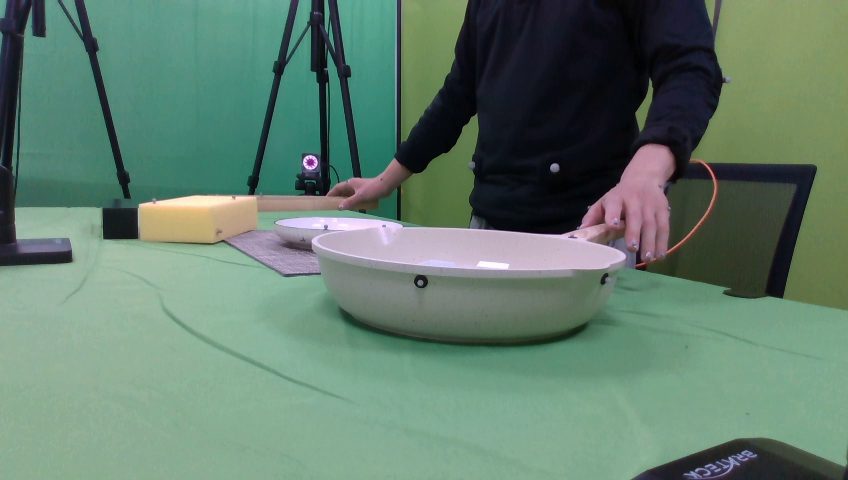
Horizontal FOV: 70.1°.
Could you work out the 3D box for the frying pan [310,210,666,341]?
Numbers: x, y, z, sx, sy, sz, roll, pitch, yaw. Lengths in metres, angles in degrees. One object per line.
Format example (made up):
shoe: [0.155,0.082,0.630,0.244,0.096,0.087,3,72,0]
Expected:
frying pan: [0.120,0.011,0.643,0.490,0.102,0.305,-13,16,-36]

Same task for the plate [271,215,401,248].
plate: [-0.141,-0.012,0.978,0.208,0.039,0.207,3,7,0]

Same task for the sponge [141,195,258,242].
sponge: [-0.380,-0.040,1.047,0.118,0.061,0.207,1,8,3]

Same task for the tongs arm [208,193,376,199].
tongs arm: [-0.300,-0.093,1.414,0.386,0.026,0.050,-1,7,-19]

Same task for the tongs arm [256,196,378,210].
tongs arm: [-0.272,-0.082,1.345,0.390,0.028,0.028,-3,5,-30]
